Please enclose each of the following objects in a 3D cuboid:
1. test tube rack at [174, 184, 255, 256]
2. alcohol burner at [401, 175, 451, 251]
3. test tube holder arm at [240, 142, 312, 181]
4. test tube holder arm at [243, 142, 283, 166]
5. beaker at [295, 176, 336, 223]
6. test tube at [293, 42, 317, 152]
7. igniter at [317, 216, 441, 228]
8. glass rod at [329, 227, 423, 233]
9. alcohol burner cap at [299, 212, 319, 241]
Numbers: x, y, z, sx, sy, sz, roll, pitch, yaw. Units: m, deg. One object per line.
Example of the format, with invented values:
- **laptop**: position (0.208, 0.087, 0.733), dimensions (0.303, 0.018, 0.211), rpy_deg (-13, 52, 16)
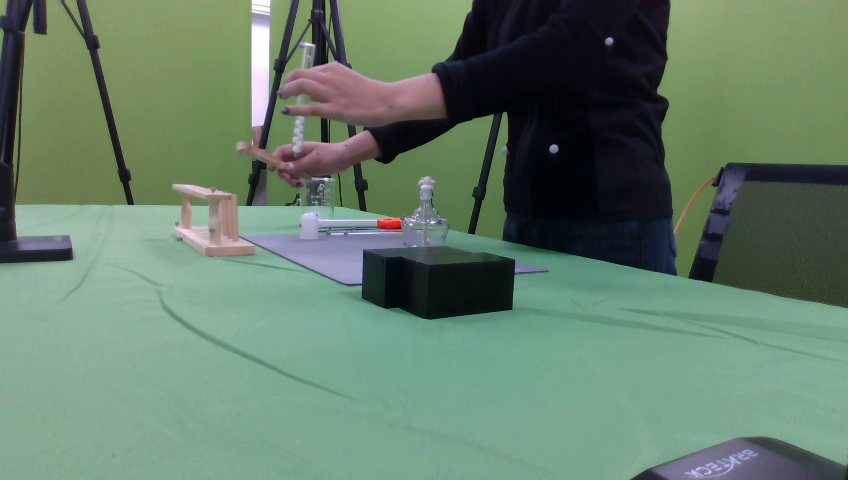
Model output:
- **test tube rack**: position (-0.327, -0.036, 0.928), dimensions (0.067, 0.085, 0.241), rpy_deg (-2, 9, -32)
- **alcohol burner**: position (0.004, -0.042, 0.947), dimensions (0.078, 0.119, 0.078), rpy_deg (1, 9, 0)
- **test tube holder arm**: position (-0.255, -0.135, 1.059), dimensions (0.013, 0.015, 0.179), rpy_deg (4, -10, 26)
- **test tube holder arm**: position (-0.269, -0.144, 1.016), dimensions (0.010, 0.015, 0.088), rpy_deg (4, -10, 26)
- **beaker**: position (-0.223, -0.080, 1.247), dimensions (0.084, 0.100, 0.073), rpy_deg (-1, 8, -18)
- **test tube**: position (-0.165, -0.195, 0.833), dimensions (0.017, 0.150, 0.017), rpy_deg (11, 18, -3)
- **igniter**: position (-0.090, -0.035, 1.222), dimensions (0.278, 0.025, 0.057), rpy_deg (-2, -1, -31)
- **glass rod**: position (-0.087, -0.019, 1.148), dimensions (0.201, 0.008, 0.008), rpy_deg (-3, 8, -32)
- **alcohol burner cap**: position (-0.195, -0.024, 1.025), dimensions (0.034, 0.048, 0.034), rpy_deg (2, 7, 0)
